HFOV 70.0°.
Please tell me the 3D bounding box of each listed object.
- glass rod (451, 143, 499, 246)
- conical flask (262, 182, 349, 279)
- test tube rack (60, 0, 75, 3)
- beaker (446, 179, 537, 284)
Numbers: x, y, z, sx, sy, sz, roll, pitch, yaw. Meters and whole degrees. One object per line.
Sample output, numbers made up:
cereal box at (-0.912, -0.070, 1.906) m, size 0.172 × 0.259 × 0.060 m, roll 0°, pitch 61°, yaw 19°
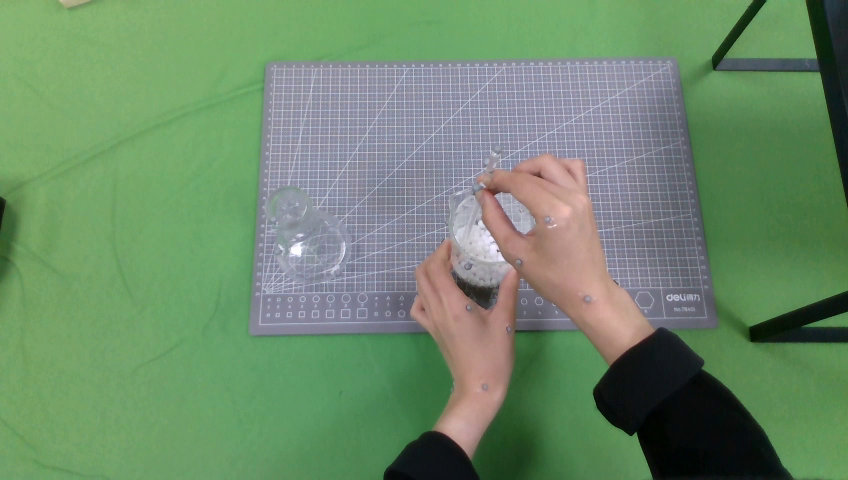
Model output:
glass rod at (0.038, -0.030, 0.497) m, size 0.008 × 0.200 × 0.008 m, roll 2°, pitch 70°, yaw -5°
conical flask at (-0.111, -0.013, 0.546) m, size 0.075 × 0.122 × 0.075 m, roll 0°, pitch 73°, yaw 0°
test tube rack at (-0.308, -0.351, 0.666) m, size 0.242 × 0.085 × 0.066 m, roll -21°, pitch 74°, yaw -7°
beaker at (0.055, -0.005, 0.557) m, size 0.083 × 0.101 × 0.074 m, roll 36°, pitch 76°, yaw 11°
